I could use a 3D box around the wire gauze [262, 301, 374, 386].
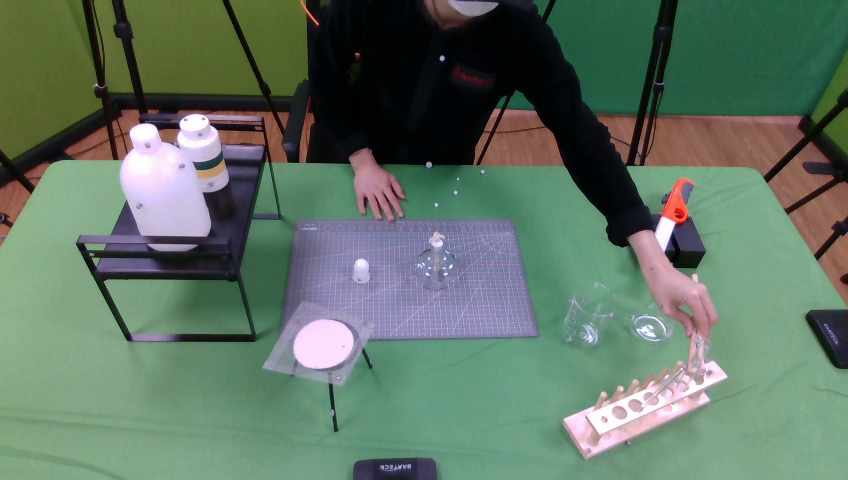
[{"bbox_3d":[-0.150,0.148,0.873,0.121,0.011,0.124,14,46,12],"label":"wire gauze"}]

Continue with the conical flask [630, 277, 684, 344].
[{"bbox_3d":[0.409,0.117,1.045,0.075,0.122,0.075,2,46,-2],"label":"conical flask"}]

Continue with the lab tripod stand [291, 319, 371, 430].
[{"bbox_3d":[-0.146,0.194,0.923,0.148,0.132,0.147,1,47,-1],"label":"lab tripod stand"}]

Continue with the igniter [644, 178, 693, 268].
[{"bbox_3d":[0.488,-0.042,1.204,0.057,0.025,0.276,30,51,10],"label":"igniter"}]

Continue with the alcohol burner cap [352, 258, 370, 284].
[{"bbox_3d":[-0.117,0.055,1.118,0.034,0.048,0.033,1,45,-1],"label":"alcohol burner cap"}]

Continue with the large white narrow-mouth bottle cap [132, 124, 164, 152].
[{"bbox_3d":[-0.370,-0.137,0.813,0.038,0.024,0.037,3,46,-3],"label":"large white narrow-mouth bottle cap"}]

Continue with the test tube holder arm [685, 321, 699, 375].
[{"bbox_3d":[0.395,0.157,0.889,0.010,0.015,0.087,17,53,14],"label":"test tube holder arm"}]

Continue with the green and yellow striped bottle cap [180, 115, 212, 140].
[{"bbox_3d":[-0.358,-0.177,0.951,0.045,0.020,0.045,1,44,-1],"label":"green and yellow striped bottle cap"}]

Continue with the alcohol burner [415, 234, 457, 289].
[{"bbox_3d":[0.022,0.034,1.100,0.078,0.120,0.077,1,47,0],"label":"alcohol burner"}]

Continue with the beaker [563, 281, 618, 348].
[{"bbox_3d":[0.283,0.129,1.041,0.074,0.101,0.083,11,46,7],"label":"beaker"}]

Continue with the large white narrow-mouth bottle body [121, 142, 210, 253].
[{"bbox_3d":[-0.378,-0.077,0.875,0.102,0.195,0.101,3,46,-3],"label":"large white narrow-mouth bottle body"}]

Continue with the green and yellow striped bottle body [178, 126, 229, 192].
[{"bbox_3d":[-0.361,-0.142,0.989,0.063,0.120,0.063,2,46,-2],"label":"green and yellow striped bottle body"}]

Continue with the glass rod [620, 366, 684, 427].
[{"bbox_3d":[0.323,0.228,0.866,0.008,0.200,0.008,5,51,-6],"label":"glass rod"}]

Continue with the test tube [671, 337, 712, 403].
[{"bbox_3d":[0.391,0.195,0.892,0.017,0.151,0.017,1,43,0],"label":"test tube"}]

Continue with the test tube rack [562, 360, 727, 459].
[{"bbox_3d":[0.341,0.247,0.940,0.243,0.085,0.066,-16,49,-18],"label":"test tube rack"}]

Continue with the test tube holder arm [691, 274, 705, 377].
[{"bbox_3d":[0.414,0.125,0.915,0.013,0.015,0.177,11,52,9],"label":"test tube holder arm"}]
